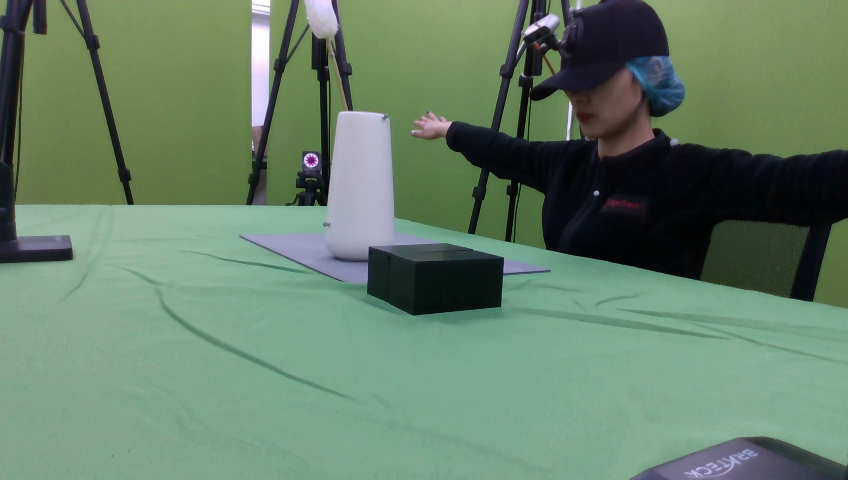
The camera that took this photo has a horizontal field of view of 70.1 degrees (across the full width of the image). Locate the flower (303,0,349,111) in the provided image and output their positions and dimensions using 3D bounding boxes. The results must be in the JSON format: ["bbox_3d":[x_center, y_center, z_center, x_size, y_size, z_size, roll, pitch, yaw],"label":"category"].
[{"bbox_3d":[-0.099,-0.157,0.825,0.038,0.361,0.044,-15,5,-1],"label":"flower"}]

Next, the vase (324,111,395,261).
[{"bbox_3d":[-0.087,-0.074,0.829,0.098,0.200,0.098,2,9,0],"label":"vase"}]
